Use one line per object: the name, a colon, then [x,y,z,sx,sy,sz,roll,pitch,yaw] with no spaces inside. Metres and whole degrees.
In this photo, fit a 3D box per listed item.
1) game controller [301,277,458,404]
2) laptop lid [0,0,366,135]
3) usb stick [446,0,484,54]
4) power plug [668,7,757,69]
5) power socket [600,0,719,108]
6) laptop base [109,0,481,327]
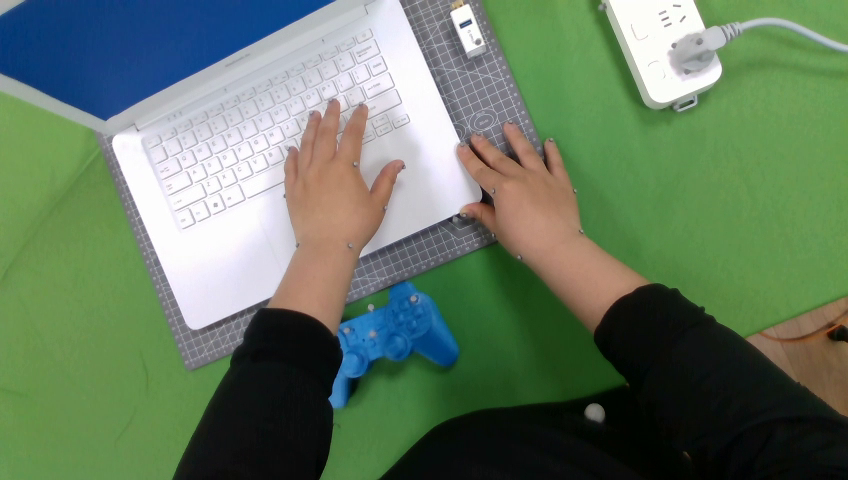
game controller: [-0.052,0.102,0.621,0.155,0.052,0.097,-23,82,8]
laptop lid: [-0.217,-0.202,0.535,0.356,0.243,0.013,-25,78,10]
usb stick: [0.039,-0.219,0.608,0.021,0.027,0.059,-24,86,12]
power plug: [0.261,-0.179,0.554,0.072,0.053,0.035,-11,88,4]
power socket: [0.209,-0.237,0.581,0.072,0.032,0.226,-22,88,9]
laptop base: [-0.143,-0.079,0.645,0.354,0.023,0.235,-24,90,8]
